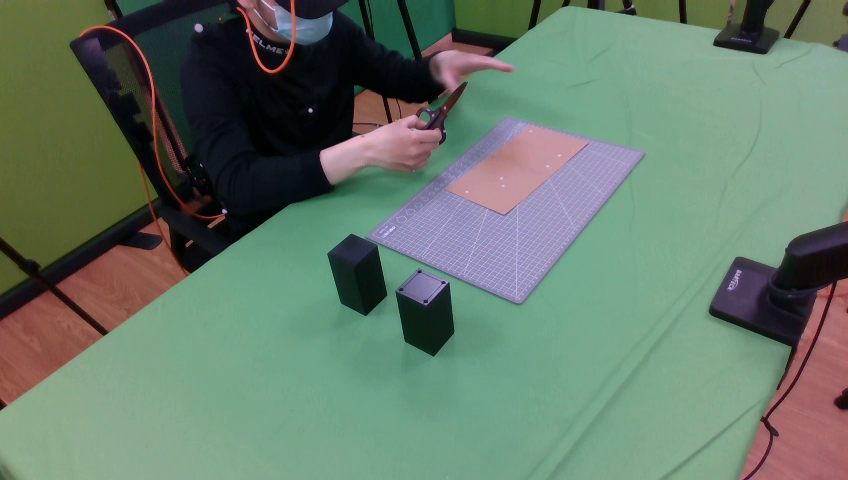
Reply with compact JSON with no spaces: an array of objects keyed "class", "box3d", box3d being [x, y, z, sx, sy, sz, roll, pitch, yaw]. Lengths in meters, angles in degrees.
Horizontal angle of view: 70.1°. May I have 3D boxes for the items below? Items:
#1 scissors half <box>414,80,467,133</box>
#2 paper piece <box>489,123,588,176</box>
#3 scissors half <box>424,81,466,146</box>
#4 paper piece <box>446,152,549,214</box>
[{"class":"scissors half","box3d":[0.027,-0.234,1.054,0.013,0.040,0.174,-37,6,-32]},{"class":"paper piece","box3d":[0.218,-0.176,1.150,0.135,0.009,0.138,30,52,31]},{"class":"scissors half","box3d":[0.039,-0.218,1.053,0.013,0.175,0.040,-31,76,-31]},{"class":"paper piece","box3d":[0.130,-0.105,1.078,0.134,0.004,0.136,29,53,32]}]
